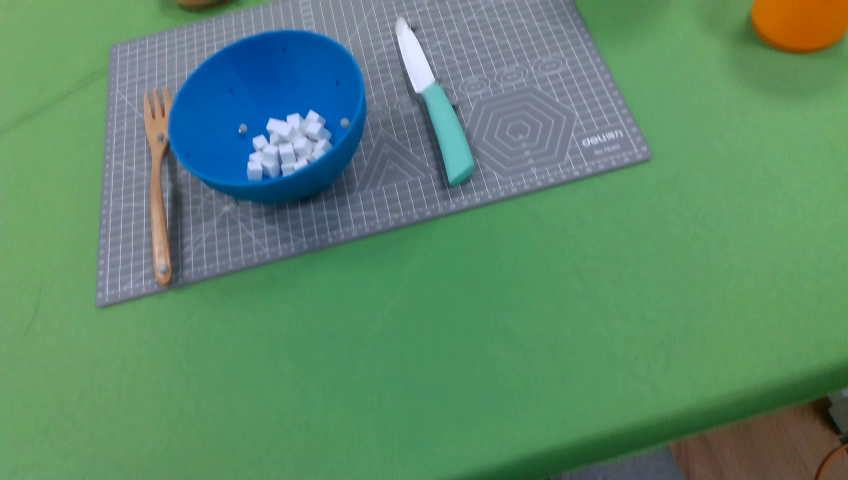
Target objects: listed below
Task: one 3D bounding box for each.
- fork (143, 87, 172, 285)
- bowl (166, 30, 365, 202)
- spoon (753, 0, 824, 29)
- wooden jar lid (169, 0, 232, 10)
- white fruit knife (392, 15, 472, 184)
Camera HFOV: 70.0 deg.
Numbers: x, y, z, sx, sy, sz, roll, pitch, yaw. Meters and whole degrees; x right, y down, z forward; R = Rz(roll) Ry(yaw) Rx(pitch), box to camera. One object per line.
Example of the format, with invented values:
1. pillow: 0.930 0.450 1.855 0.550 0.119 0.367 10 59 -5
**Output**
1. fork: -0.225 -0.053 0.515 0.028 0.019 0.205 -12 58 -7
2. bowl: -0.113 -0.084 0.481 0.151 0.077 0.150 -4 61 7
3. spoon: 0.344 -0.225 0.451 0.022 0.194 0.041 13 58 -36
4. wooden jar lid: -0.230 -0.284 0.645 0.108 0.021 0.107 -3 61 5
5. white fruit knife: 0.003 -0.131 0.524 0.027 0.016 0.205 -11 59 -13
